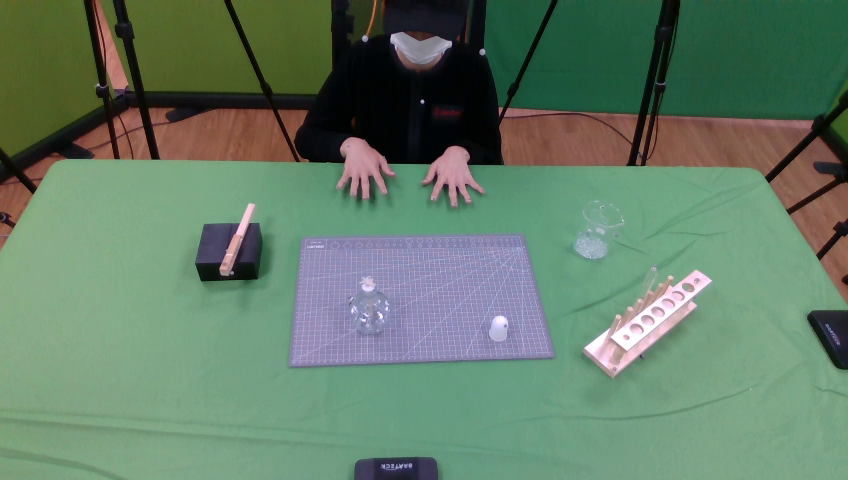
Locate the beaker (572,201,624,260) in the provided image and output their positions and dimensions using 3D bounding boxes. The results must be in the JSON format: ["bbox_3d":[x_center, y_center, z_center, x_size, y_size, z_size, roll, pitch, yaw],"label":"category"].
[{"bbox_3d":[0.338,-0.015,1.186,0.084,0.101,0.074,21,49,15],"label":"beaker"}]

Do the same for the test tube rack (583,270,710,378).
[{"bbox_3d":[0.389,0.133,1.057,0.242,0.085,0.066,-29,54,-28],"label":"test tube rack"}]

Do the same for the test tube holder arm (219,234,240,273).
[{"bbox_3d":[-0.344,0.023,1.076,0.015,0.010,0.087,5,45,2],"label":"test tube holder arm"}]

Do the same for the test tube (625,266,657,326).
[{"bbox_3d":[0.367,0.097,1.027,0.017,0.151,0.017,1,46,-1],"label":"test tube"}]

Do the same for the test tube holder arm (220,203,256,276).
[{"bbox_3d":[-0.340,-0.005,1.112,0.015,0.013,0.177,5,46,2],"label":"test tube holder arm"}]

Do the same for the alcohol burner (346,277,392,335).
[{"bbox_3d":[-0.093,0.106,1.021,0.078,0.120,0.077,1,46,-1],"label":"alcohol burner"}]

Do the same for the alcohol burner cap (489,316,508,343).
[{"bbox_3d":[0.130,0.151,1.045,0.034,0.048,0.033,2,46,-2],"label":"alcohol burner cap"}]
